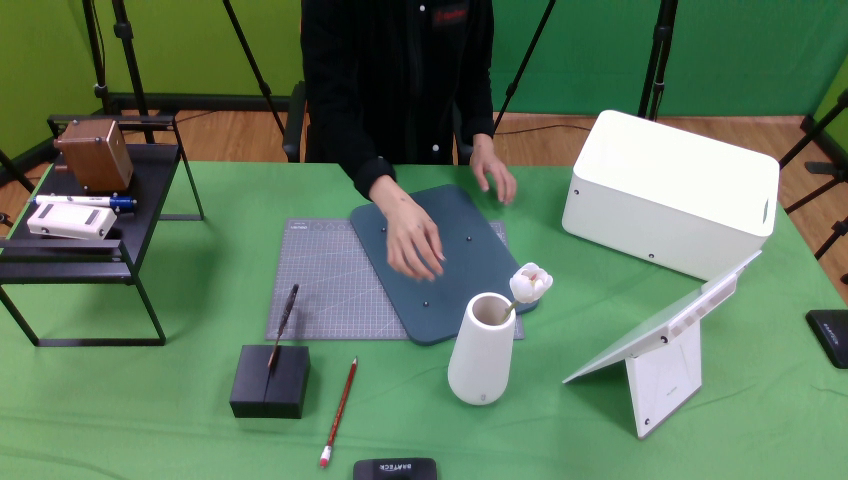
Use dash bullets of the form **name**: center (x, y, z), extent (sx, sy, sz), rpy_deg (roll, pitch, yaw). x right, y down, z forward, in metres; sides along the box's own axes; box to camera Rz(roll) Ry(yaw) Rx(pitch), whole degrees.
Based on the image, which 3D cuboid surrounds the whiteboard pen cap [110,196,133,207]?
- **whiteboard pen cap**: center (-0.486, -0.061, 0.972), extent (0.033, 0.018, 0.018), rpy_deg (0, 46, -9)

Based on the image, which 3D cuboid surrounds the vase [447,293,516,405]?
- **vase**: center (0.091, 0.169, 0.921), extent (0.098, 0.201, 0.097), rpy_deg (3, 47, -3)

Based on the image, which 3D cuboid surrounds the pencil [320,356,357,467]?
- **pencil**: center (-0.130, 0.261, 0.947), extent (0.012, 0.012, 0.193), rpy_deg (10, 45, 5)

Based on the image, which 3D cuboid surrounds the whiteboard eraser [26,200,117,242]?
- **whiteboard eraser**: center (-0.532, -0.026, 0.919), extent (0.113, 0.042, 0.055), rpy_deg (7, 45, 3)

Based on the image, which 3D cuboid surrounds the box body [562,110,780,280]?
- **box body**: center (0.486, -0.088, 1.222), extent (0.363, 0.161, 0.253), rpy_deg (20, 48, 15)

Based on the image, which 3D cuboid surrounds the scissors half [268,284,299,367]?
- **scissors half**: center (-0.230, 0.135, 0.986), extent (0.013, 0.040, 0.174), rpy_deg (19, 42, -10)

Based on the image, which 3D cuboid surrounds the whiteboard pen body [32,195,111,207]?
- **whiteboard pen body**: center (-0.543, -0.061, 0.961), extent (0.141, 0.017, 0.017), rpy_deg (1, 46, -10)

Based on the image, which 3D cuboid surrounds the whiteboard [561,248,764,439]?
- **whiteboard**: center (0.386, 0.176, 0.905), extent (0.217, 0.306, 0.143), rpy_deg (-26, 72, -27)

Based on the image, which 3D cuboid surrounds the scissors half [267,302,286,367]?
- **scissors half**: center (-0.239, 0.150, 0.996), extent (0.013, 0.040, 0.174), rpy_deg (24, 24, -13)

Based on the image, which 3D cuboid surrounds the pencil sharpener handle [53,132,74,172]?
- **pencil sharpener handle**: center (-0.578, -0.138, 0.961), extent (0.031, 0.068, 0.036), rpy_deg (-4, 34, -7)

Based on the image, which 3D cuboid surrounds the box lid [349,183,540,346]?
- **box lid**: center (0.030, 0.030, 1.176), extent (0.263, 0.015, 0.369), rpy_deg (-16, 49, -18)

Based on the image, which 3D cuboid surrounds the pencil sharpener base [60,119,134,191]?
- **pencil sharpener base**: center (-0.528, -0.135, 0.979), extent (0.077, 0.107, 0.061), rpy_deg (-4, 47, -7)

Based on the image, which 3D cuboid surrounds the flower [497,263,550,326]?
- **flower**: center (0.103, 0.121, 0.853), extent (0.044, 0.363, 0.038), rpy_deg (-1, 63, -9)
